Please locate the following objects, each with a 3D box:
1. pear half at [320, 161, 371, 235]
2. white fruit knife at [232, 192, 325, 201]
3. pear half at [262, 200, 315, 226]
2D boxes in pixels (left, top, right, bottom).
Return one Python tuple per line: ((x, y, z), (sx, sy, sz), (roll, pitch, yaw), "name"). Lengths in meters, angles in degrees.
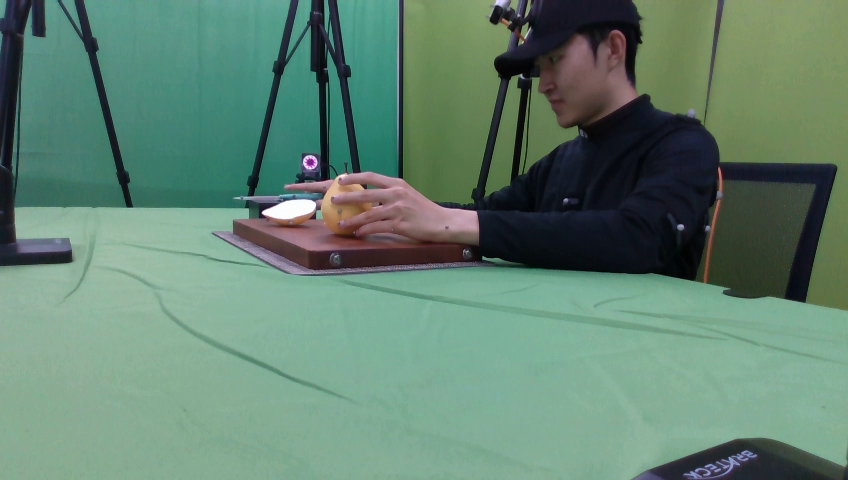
((-0.110, -0.061, 0.893), (0.077, 0.110, 0.055), (-16, 21, -42), "pear half")
((-0.302, -0.090, 1.291), (0.208, 0.016, 0.027), (-4, -13, -27), "white fruit knife")
((-0.223, -0.041, 1.008), (0.088, 0.031, 0.070), (-11, 22, 2), "pear half")
